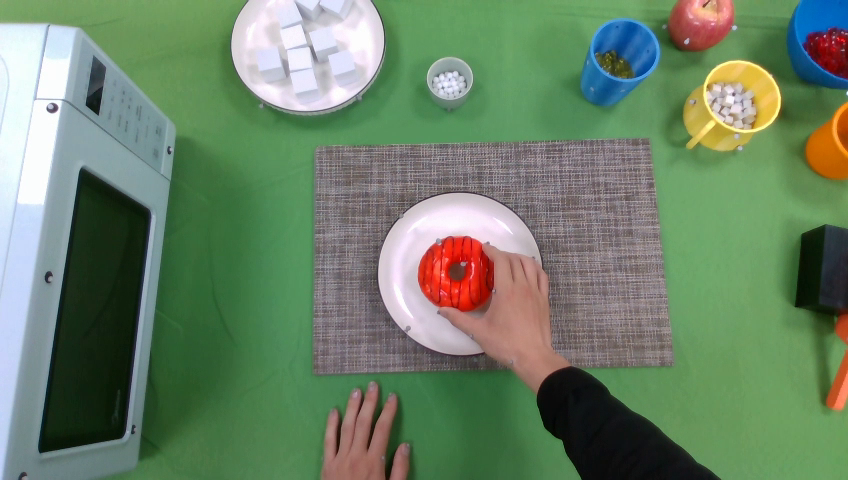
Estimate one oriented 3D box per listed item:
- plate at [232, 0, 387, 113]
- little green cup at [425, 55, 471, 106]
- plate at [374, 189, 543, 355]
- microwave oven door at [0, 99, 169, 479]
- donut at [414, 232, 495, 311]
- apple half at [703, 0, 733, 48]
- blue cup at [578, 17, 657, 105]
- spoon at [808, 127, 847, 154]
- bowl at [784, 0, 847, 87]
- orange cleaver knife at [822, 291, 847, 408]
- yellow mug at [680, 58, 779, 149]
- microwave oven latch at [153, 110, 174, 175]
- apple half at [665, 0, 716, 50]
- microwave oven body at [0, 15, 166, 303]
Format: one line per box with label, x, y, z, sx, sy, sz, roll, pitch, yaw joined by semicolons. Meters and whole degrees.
plate;-0.154;-0.266;0.827;0.208;0.039;0.206;0;78;0
little green cup;0.032;-0.212;0.816;0.061;0.039;0.061;0;78;0
plate;0.042;0.039;0.760;0.209;0.038;0.208;0;78;0
microwave oven door;-0.351;0.066;0.634;0.039;0.245;0.354;1;78;1
donut;0.037;0.038;0.740;0.099;0.048;0.098;0;76;1
apple half;0.395;-0.297;0.816;0.033;0.081;0.081;4;77;5
blue cup;0.242;-0.224;0.787;0.093;0.100;0.092;0;79;-1
spoon;0.568;-0.106;0.738;0.041;0.191;0.022;-43;125;-8
bowl;0.545;-0.263;0.807;0.151;0.077;0.150;0;79;1
orange cleaver knife;0.518;0.100;0.728;0.012;0.077;0.212;13;108;5
yellow mug;0.388;-0.167;0.793;0.131;0.064;0.099;-43;80;-7
microwave oven latch;-0.341;-0.125;0.778;0.030;0.029;0.079;3;79;0
apple half;0.355;-0.299;0.818;0.053;0.075;0.080;4;81;4
microwave oven body;-0.495;0.022;0.649;0.326;0.261;0.439;2;79;0
